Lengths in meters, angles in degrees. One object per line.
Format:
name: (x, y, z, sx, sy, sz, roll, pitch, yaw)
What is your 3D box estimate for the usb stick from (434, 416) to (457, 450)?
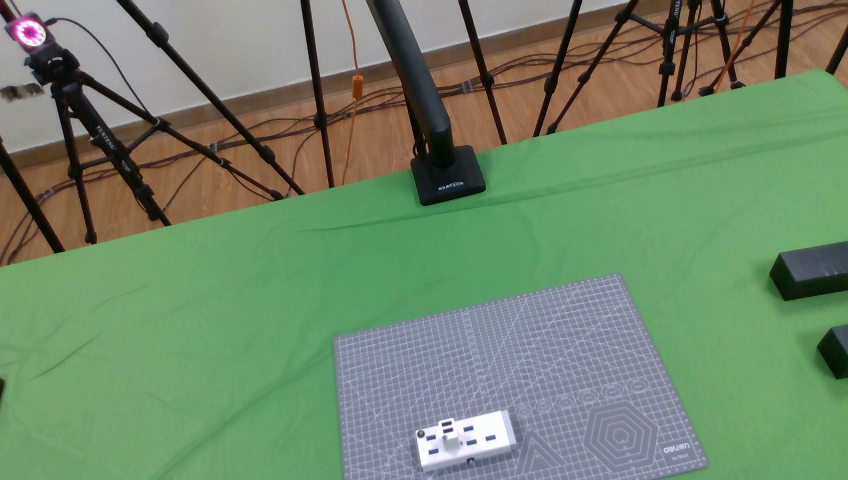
usb stick: (0.028, 0.246, 0.763, 0.021, 0.060, 0.027, -16, 49, -2)

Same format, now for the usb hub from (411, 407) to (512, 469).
usb hub: (0.048, 0.257, 0.789, 0.125, 0.025, 0.049, -13, 51, -1)
